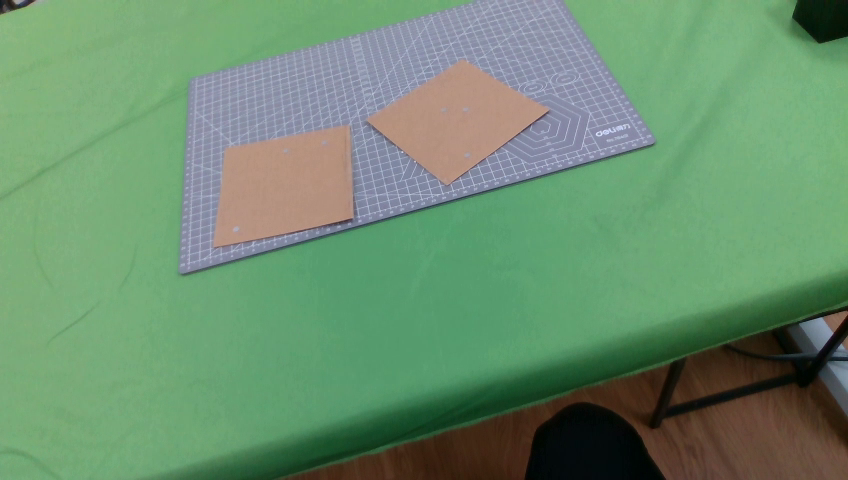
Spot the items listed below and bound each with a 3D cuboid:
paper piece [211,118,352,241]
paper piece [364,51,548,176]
[{"bbox_3d":[-0.138,-0.065,0.596,0.138,0.009,0.134,-11,49,4],"label":"paper piece"},{"bbox_3d":[0.030,-0.135,0.612,0.135,0.004,0.134,-37,56,-16],"label":"paper piece"}]
